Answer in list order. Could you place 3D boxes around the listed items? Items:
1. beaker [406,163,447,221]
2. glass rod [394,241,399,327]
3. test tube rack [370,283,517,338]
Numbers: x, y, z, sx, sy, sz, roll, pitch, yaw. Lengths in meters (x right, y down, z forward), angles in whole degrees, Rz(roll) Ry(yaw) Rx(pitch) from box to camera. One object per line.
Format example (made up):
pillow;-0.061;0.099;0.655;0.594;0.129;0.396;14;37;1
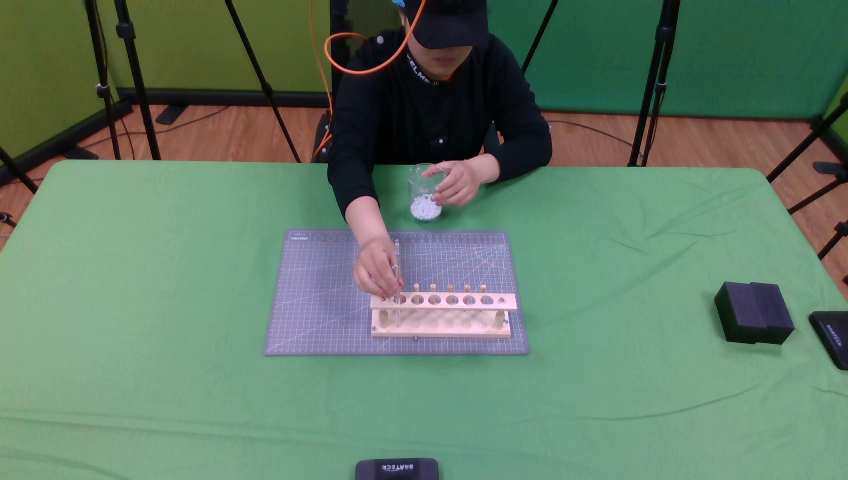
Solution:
beaker;0.005;-0.094;1.219;0.084;0.101;0.073;-15;51;-13
glass rod;-0.045;0.076;0.981;0.008;0.201;0.008;2;43;-1
test tube rack;0.030;0.117;1.041;0.242;0.085;0.066;1;46;-3
